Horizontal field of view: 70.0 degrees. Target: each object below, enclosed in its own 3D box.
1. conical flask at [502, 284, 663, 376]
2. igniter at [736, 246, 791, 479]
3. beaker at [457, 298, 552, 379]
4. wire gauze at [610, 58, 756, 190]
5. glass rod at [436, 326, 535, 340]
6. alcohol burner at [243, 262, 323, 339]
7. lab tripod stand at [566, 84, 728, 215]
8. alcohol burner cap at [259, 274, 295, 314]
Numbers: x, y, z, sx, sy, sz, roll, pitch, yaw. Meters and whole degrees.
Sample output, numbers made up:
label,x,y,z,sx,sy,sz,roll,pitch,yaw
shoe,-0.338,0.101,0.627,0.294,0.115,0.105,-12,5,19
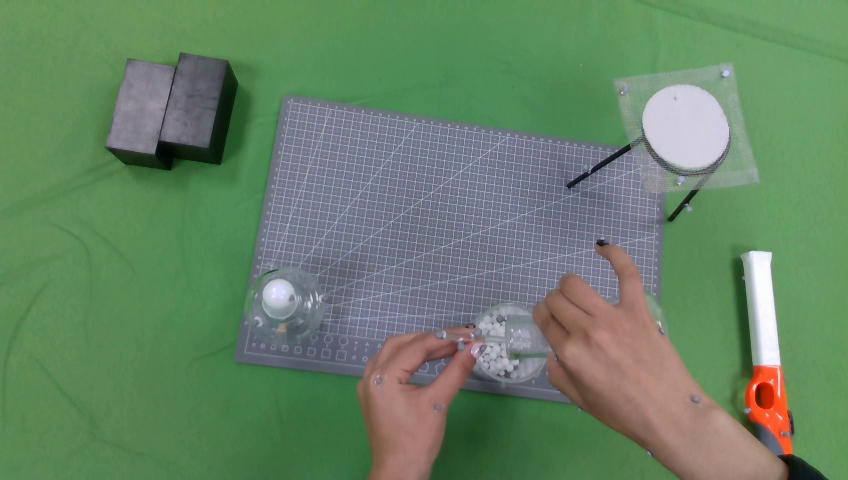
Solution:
label,x,y,z,sx,sy,sz,roll,pitch,yaw
conical flask,0.127,0.075,0.501,0.122,0.075,0.075,-1,79,-1
igniter,0.373,0.143,0.668,0.057,0.025,0.275,4,79,-16
beaker,0.076,0.099,0.607,0.084,0.100,0.073,-10,80,-8
wire gauze,0.250,-0.111,0.582,0.125,0.011,0.121,-8,81,-7
glass rod,0.059,0.081,0.515,0.008,0.201,0.008,-6,78,29
alcohol burner,-0.138,0.056,0.587,0.078,0.119,0.077,2,77,-7
lab tripod stand,0.241,-0.094,0.646,0.148,0.131,0.148,1,80,-6
alcohol burner cap,-0.134,0.047,0.552,0.034,0.048,0.033,4,71,-12
